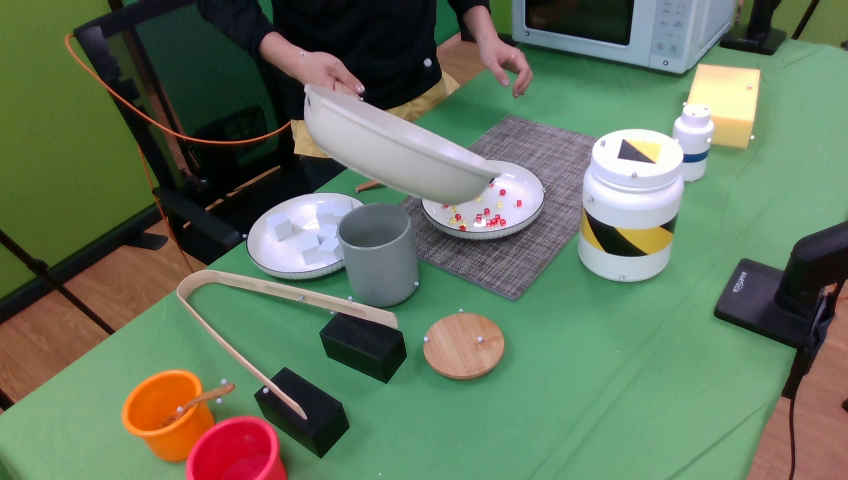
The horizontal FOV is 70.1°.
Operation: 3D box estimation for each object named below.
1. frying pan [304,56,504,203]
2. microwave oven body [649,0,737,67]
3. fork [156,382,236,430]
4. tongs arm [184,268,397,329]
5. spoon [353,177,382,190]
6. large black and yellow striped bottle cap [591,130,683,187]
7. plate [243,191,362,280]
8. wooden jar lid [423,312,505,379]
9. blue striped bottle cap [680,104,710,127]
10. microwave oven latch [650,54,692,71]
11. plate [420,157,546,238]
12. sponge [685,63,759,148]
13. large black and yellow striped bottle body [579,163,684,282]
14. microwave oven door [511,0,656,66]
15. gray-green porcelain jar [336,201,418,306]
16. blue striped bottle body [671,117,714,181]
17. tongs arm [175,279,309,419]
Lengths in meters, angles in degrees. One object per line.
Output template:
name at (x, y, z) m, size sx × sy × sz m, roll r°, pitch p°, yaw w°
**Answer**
frying pan at (-0.082, -0.188, 0.910) m, size 0.310 × 0.102 × 0.483 m, roll 15°, pitch 25°, yaw -39°
microwave oven body at (0.475, -0.602, 1.411) m, size 0.438 × 0.261 × 0.327 m, roll 23°, pitch 50°, yaw 32°
fork at (-0.262, 0.189, 0.690) m, size 0.018 × 0.206 × 0.028 m, roll 49°, pitch 43°, yaw -7°
tongs arm at (-0.202, 0.084, 0.847) m, size 0.382 × 0.027 × 0.051 m, roll 11°, pitch 45°, yaw 34°
spoon at (-0.038, -0.123, 1.116) m, size 0.194 × 0.022 × 0.041 m, roll -12°, pitch 59°, yaw -4°
large black and yellow striped bottle cap at (0.282, -0.111, 0.803) m, size 0.115 × 0.019 × 0.114 m, roll -3°, pitch 41°, yaw 3°
plate at (-0.187, -0.005, 0.992) m, size 0.207 × 0.039 × 0.206 m, roll -4°, pitch 41°, yaw 4°
wooden jar lid at (0.053, 0.142, 0.800) m, size 0.108 × 0.021 × 0.108 m, roll -5°, pitch 39°, yaw 4°
blue striped bottle cap at (0.443, -0.205, 0.989) m, size 0.044 × 0.021 × 0.044 m, roll -1°, pitch 41°, yaw 2°
microwave oven latch at (0.531, -0.386, 1.301) m, size 0.078 × 0.029 × 0.030 m, roll 24°, pitch 50°, yaw 32°
plate at (0.099, -0.067, 1.017) m, size 0.209 × 0.038 × 0.208 m, roll -4°, pitch 41°, yaw 4°
sponge at (0.569, -0.263, 1.164) m, size 0.117 × 0.061 × 0.207 m, roll 12°, pitch 45°, yaw 22°
large black and yellow striped bottle body at (0.291, -0.046, 0.858) m, size 0.131 × 0.185 × 0.130 m, roll -4°, pitch 41°, yaw 4°
microwave oven door at (0.351, -0.540, 1.349) m, size 0.353 × 0.245 × 0.039 m, roll 24°, pitch 50°, yaw 31°
gray-green porcelain jar at (-0.064, 0.024, 0.872) m, size 0.106 × 0.127 × 0.105 m, roll -4°, pitch 41°, yaw 4°
blue striped bottle body at (0.449, -0.165, 1.022) m, size 0.063 × 0.121 × 0.063 m, roll -5°, pitch 41°, yaw 4°
tongs arm at (-0.254, 0.133, 0.801) m, size 0.028 × 0.028 × 0.384 m, roll -41°, pitch 41°, yaw -23°
